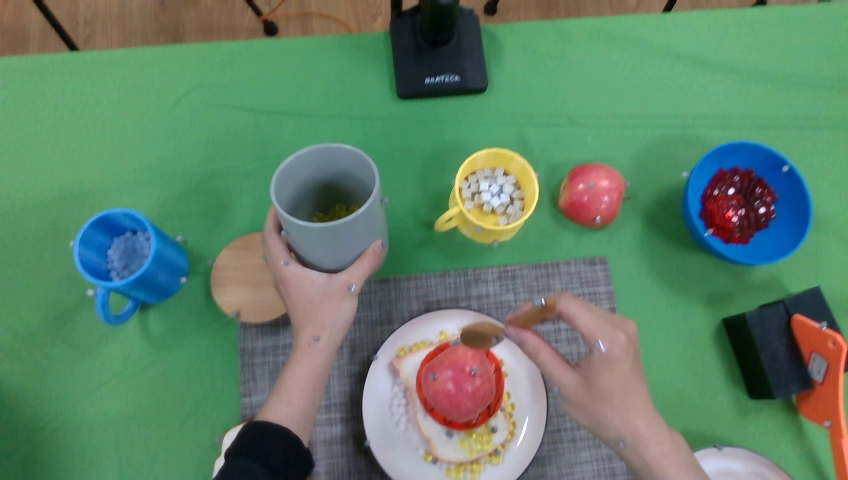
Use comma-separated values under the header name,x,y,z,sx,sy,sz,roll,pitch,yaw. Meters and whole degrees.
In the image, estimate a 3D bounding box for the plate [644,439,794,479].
name,x,y,z,sx,sy,sz,roll,pitch,yaw
plate,0.327,0.327,0.669,0.209,0.038,0.208,1,76,-3

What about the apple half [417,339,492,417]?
name,x,y,z,sx,sy,sz,roll,pitch,yaw
apple half,0.034,0.141,0.623,0.081,0.033,0.081,-1,74,2

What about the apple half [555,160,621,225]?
name,x,y,z,sx,sy,sz,roll,pitch,yaw
apple half,0.205,-0.064,0.748,0.074,0.053,0.080,17,76,3

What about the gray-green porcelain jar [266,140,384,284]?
name,x,y,z,sx,sy,sz,roll,pitch,yaw
gray-green porcelain jar,-0.097,-0.022,0.630,0.106,0.127,0.105,0,56,1

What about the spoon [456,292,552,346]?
name,x,y,z,sx,sy,sz,roll,pitch,yaw
spoon,0.066,0.069,0.499,0.042,0.194,0.021,15,74,-8

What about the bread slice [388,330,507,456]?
name,x,y,z,sx,sy,sz,roll,pitch,yaw
bread slice,0.034,0.172,0.683,0.107,0.018,0.133,-22,79,-8

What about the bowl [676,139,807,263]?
name,x,y,z,sx,sy,sz,roll,pitch,yaw
bowl,0.371,-0.038,0.741,0.151,0.077,0.150,1,77,-4

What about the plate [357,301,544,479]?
name,x,y,z,sx,sy,sz,roll,pitch,yaw
plate,0.029,0.174,0.681,0.208,0.039,0.206,1,77,-4

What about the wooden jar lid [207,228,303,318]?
name,x,y,z,sx,sy,sz,roll,pitch,yaw
wooden jar lid,-0.196,0.039,0.707,0.108,0.021,0.108,1,73,-3

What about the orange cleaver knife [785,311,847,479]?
name,x,y,z,sx,sy,sz,roll,pitch,yaw
orange cleaver knife,0.449,0.184,0.690,0.012,0.077,0.212,-16,99,-14

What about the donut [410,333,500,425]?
name,x,y,z,sx,sy,sz,roll,pitch,yaw
donut,0.034,0.150,0.658,0.099,0.048,0.098,1,76,-4

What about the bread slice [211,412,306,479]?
name,x,y,z,sx,sy,sz,roll,pitch,yaw
bread slice,-0.181,0.254,0.657,0.105,0.019,0.131,3,78,-5

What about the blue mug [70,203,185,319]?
name,x,y,z,sx,sy,sz,roll,pitch,yaw
blue mug,-0.323,0.030,0.658,0.082,0.106,0.116,15,76,0

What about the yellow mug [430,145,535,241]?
name,x,y,z,sx,sy,sz,roll,pitch,yaw
yellow mug,0.064,-0.048,0.727,0.131,0.064,0.099,-28,79,-10
